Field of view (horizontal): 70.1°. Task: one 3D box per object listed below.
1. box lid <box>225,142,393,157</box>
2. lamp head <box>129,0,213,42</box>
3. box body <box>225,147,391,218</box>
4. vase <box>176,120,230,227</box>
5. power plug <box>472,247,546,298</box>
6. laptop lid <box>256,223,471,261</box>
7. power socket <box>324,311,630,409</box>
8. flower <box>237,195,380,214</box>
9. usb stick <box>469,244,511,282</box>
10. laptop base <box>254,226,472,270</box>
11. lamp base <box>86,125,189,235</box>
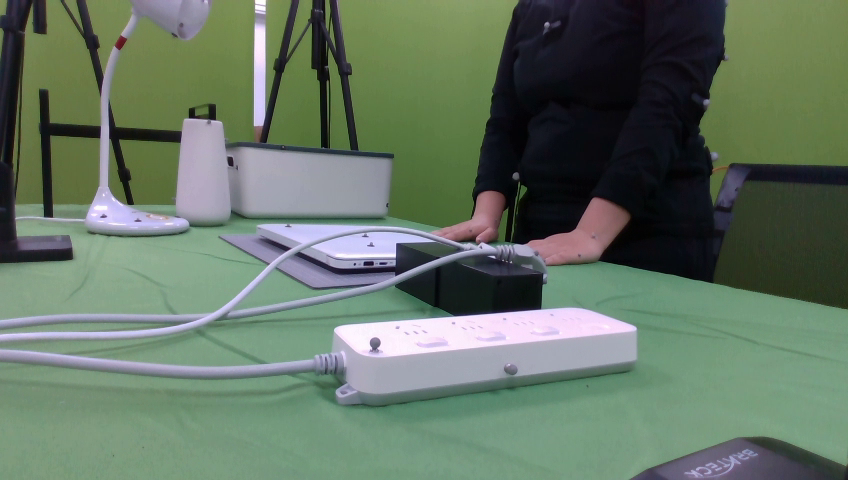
[{"bbox_3d":[-0.286,-0.216,1.464,0.373,0.015,0.262,-1,7,-28],"label":"box lid"},{"bbox_3d":[-0.423,-0.394,0.980,0.123,0.112,0.112,20,7,-3],"label":"lamp head"},{"bbox_3d":[-0.289,-0.143,1.475,0.366,0.160,0.253,-1,9,-29],"label":"box body"},{"bbox_3d":[-0.425,-0.128,1.159,0.098,0.200,0.098,2,9,0],"label":"vase"},{"bbox_3d":[0.081,0.030,0.584,0.072,0.052,0.035,11,28,9],"label":"power plug"},{"bbox_3d":[-0.092,0.000,0.912,0.243,0.013,0.355,1,7,-30],"label":"laptop lid"},{"bbox_3d":[0.042,0.075,0.410,0.228,0.032,0.072,-1,8,-26],"label":"power socket"},{"bbox_3d":[-0.284,-0.080,1.481,0.361,0.038,0.044,5,34,7],"label":"flower"},{"bbox_3d":[0.079,0.028,0.675,0.059,0.021,0.027,27,27,-31],"label":"usb stick"},{"bbox_3d":[-0.095,0.011,0.912,0.237,0.023,0.352,3,6,-32],"label":"laptop base"},{"bbox_3d":[-0.497,-0.105,1.027,0.179,0.180,0.160,1,7,3],"label":"lamp base"}]
